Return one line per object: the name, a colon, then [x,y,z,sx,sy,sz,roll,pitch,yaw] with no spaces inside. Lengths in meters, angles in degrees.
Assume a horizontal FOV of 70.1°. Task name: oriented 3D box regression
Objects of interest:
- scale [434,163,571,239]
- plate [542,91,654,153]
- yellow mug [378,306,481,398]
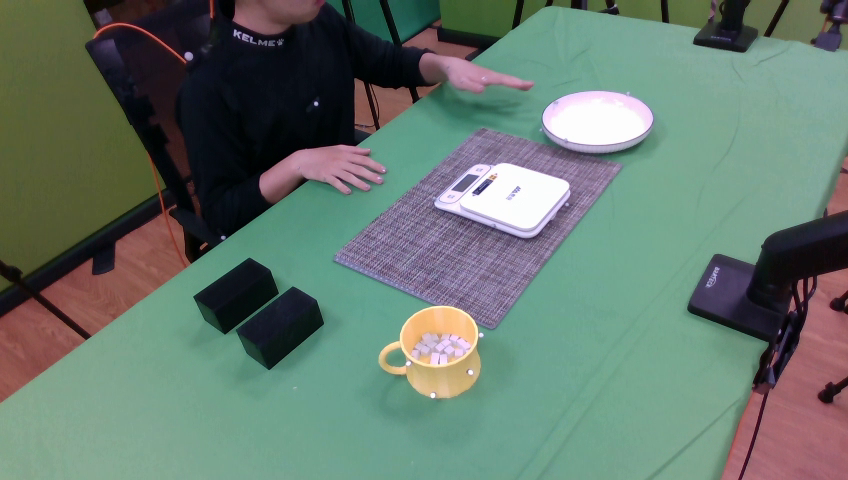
scale: [0.132,-0.075,1.025,0.199,0.032,0.149,22,48,30]
plate: [0.334,-0.224,1.171,0.209,0.038,0.208,-4,40,4]
yellow mug: [0.006,0.144,0.767,0.131,0.064,0.099,-10,40,-2]
